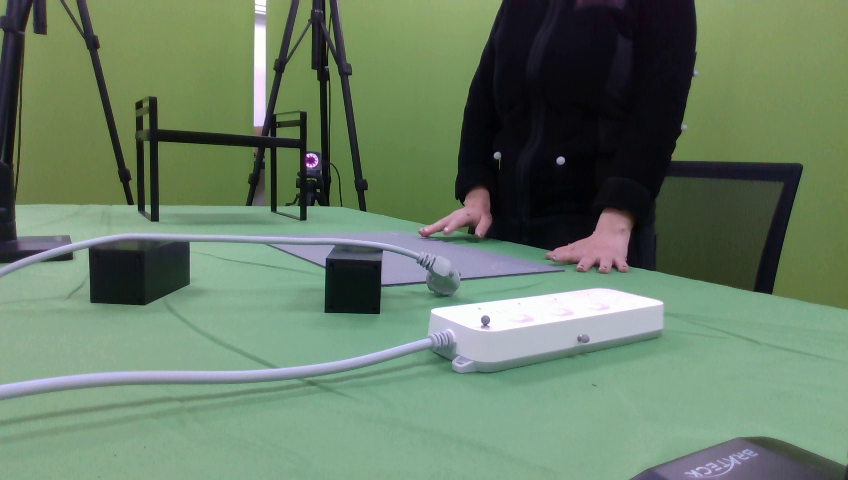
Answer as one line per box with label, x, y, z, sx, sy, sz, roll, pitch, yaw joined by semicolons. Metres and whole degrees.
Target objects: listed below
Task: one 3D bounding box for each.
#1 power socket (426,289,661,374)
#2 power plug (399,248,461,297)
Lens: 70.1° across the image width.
power socket;0.102;0.067;0.483;0.228;0.032;0.072;-3;8;-35
power plug;0.007;0.031;0.634;0.072;0.035;0.052;37;-33;4
